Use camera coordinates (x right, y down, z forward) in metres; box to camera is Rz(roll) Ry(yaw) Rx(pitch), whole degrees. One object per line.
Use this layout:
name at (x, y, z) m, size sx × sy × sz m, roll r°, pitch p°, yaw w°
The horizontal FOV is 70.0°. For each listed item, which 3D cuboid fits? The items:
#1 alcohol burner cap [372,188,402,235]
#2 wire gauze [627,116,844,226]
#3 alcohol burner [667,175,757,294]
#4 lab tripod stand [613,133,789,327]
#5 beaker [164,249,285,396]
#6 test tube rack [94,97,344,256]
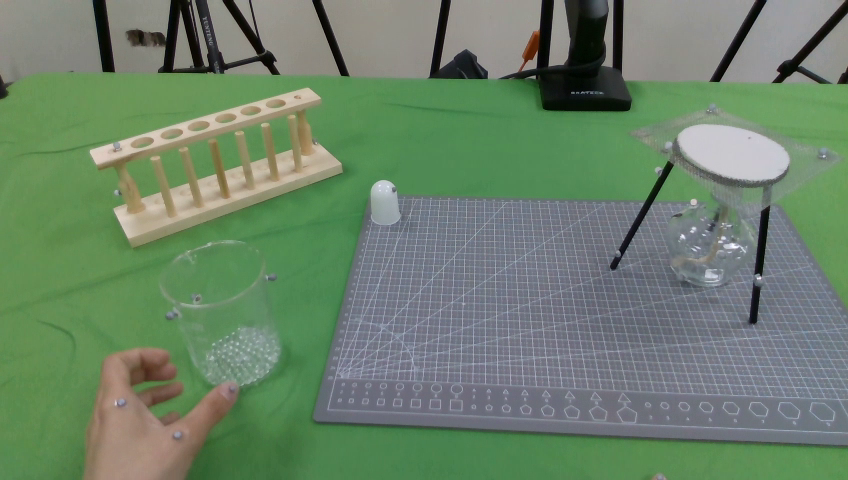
alcohol burner cap at (-0.040, -0.033, 0.639) m, size 0.034 × 0.048 × 0.033 m, roll 0°, pitch 39°, yaw 1°
wire gauze at (0.248, -0.066, 0.490) m, size 0.122 × 0.011 × 0.123 m, roll -21°, pitch 44°, yaw -24°
alcohol burner at (0.263, -0.009, 0.543) m, size 0.078 × 0.120 × 0.077 m, roll 0°, pitch 41°, yaw 1°
lab tripod stand at (0.254, -0.014, 0.533) m, size 0.148 × 0.132 × 0.147 m, roll 1°, pitch 39°, yaw 0°
beaker at (-0.153, 0.067, 0.477) m, size 0.074 × 0.101 × 0.083 m, roll -32°, pitch 47°, yaw -33°
test tube rack at (-0.215, -0.076, 0.668) m, size 0.243 × 0.086 × 0.066 m, roll -24°, pitch 44°, yaw -26°
